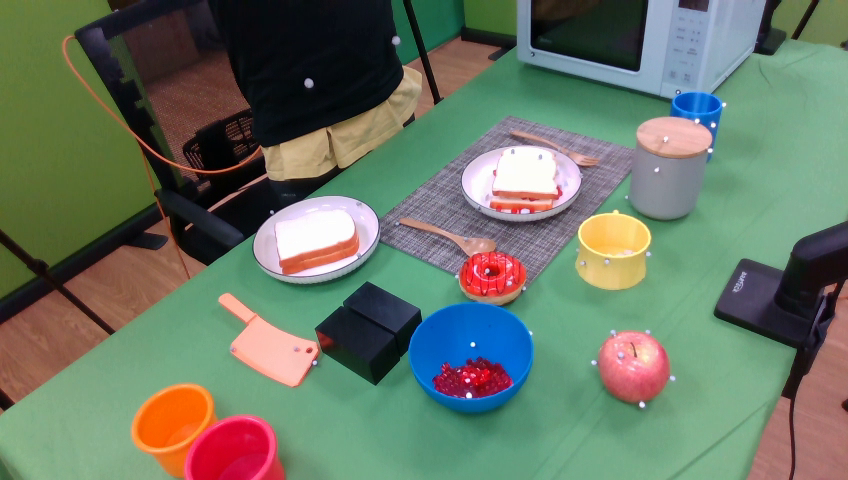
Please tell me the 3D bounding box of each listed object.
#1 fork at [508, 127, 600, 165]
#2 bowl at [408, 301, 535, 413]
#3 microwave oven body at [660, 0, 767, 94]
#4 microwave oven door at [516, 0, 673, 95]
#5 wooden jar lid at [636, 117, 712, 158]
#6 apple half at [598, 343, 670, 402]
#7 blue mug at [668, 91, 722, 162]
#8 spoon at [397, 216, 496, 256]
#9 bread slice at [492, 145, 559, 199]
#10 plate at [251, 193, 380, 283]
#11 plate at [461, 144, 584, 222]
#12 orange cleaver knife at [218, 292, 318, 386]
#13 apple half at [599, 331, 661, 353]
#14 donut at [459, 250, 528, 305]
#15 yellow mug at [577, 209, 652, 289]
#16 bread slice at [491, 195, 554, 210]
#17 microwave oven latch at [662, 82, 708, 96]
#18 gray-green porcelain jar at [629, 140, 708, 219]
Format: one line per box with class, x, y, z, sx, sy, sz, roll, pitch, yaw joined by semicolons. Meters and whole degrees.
fork;0.240;-0.180;1.142;0.205;0.019;0.028;32;64;34
bowl;0.060;0.156;0.739;0.151;0.077;0.150;-4;40;4
microwave oven body;0.473;-0.516;1.313;0.438;0.261;0.327;26;51;34
microwave oven door;0.344;-0.458;1.256;0.353;0.245;0.039;26;51;33
wooden jar lid;0.377;-0.151;0.917;0.108;0.021;0.108;-2;42;3
apple half;0.247;0.161;0.710;0.081;0.075;0.053;2;47;5
blue mug;0.475;-0.207;1.078;0.082;0.106;0.116;4;42;13
spoon;0.032;-0.011;0.972;0.192;0.022;0.041;22;73;29
bread slice;0.172;-0.118;1.028;0.107;0.018;0.134;3;44;7
plate;-0.173;-0.001;0.984;0.209;0.038;0.208;-4;41;4
plate;0.168;-0.095;1.040;0.207;0.039;0.206;-4;40;4
orange cleaver knife;-0.235;0.136;0.850;0.209;0.012;0.077;25;57;30
apple half;0.249;0.134;0.738;0.081;0.081;0.032;-1;46;7
donut;0.100;0.053;0.872;0.099;0.048;0.098;-4;40;4
yellow mug;0.279;0.005;0.893;0.099;0.064;0.130;5;41;15
bread slice;0.173;-0.098;1.048;0.104;0.019;0.131;2;44;12
microwave oven latch;0.518;-0.299;1.202;0.078;0.029;0.030;29;53;36
gray-green porcelain jar;0.383;-0.105;0.958;0.106;0.127;0.105;-4;41;4
